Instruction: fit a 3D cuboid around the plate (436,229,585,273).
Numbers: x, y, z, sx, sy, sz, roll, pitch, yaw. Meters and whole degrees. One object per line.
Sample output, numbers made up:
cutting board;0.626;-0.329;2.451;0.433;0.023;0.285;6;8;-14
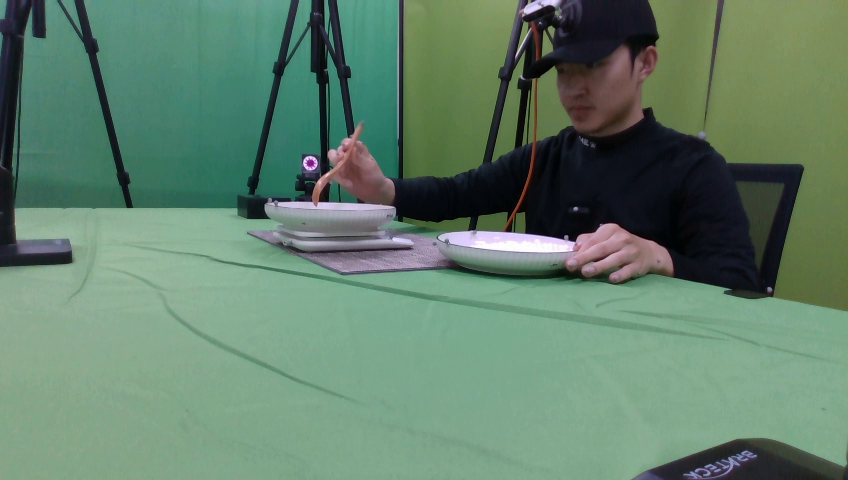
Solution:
plate;0.121;0.015;0.856;0.209;0.038;0.209;3;8;0

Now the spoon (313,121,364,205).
spoon;-0.142;-0.133;1.016;0.021;0.194;0.041;29;-34;0

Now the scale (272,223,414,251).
scale;-0.131;-0.008;0.983;0.202;0.031;0.148;-2;8;-32

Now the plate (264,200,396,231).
plate;-0.150;-0.040;0.971;0.208;0.039;0.207;2;6;0
